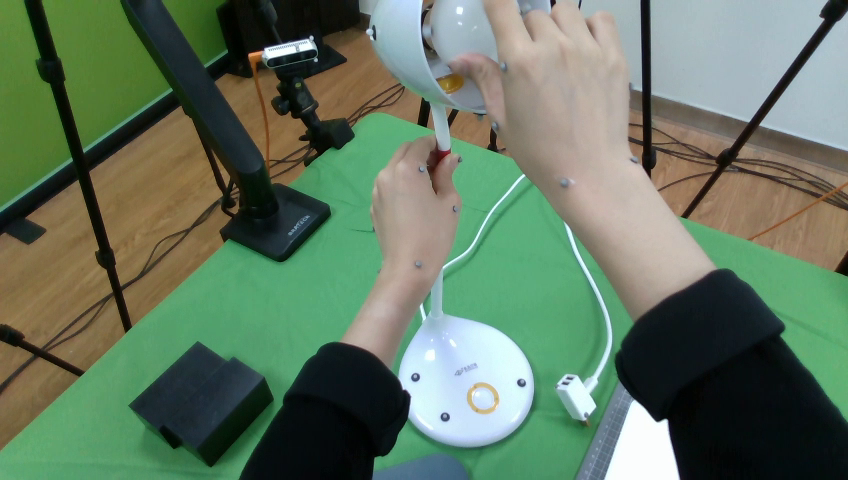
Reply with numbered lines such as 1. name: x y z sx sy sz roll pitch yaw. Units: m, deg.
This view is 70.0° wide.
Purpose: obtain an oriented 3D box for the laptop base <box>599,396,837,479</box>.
1. laptop base: 0.333 0.316 0.574 0.352 0.023 0.234 21 56 19

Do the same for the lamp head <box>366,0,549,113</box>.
1. lamp head: 0.013 -0.150 0.444 0.112 0.113 0.122 -31 23 -23

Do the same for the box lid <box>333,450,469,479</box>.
1. box lid: -0.040 0.383 0.530 0.264 0.015 0.367 -13 50 -10

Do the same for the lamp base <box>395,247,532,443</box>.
1. lamp base: 0.036 0.104 0.663 0.161 0.182 0.177 -30 51 -23

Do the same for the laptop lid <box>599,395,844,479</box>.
1. laptop lid: 0.331 0.309 0.563 0.354 0.013 0.240 22 55 20

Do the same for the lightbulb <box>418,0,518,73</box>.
1. lightbulb: 0.022 -0.146 0.416 0.059 0.060 0.106 -23 23 -18

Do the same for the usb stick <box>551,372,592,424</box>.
1. usb stick: 0.169 0.179 0.681 0.027 0.059 0.021 -36 14 -31
